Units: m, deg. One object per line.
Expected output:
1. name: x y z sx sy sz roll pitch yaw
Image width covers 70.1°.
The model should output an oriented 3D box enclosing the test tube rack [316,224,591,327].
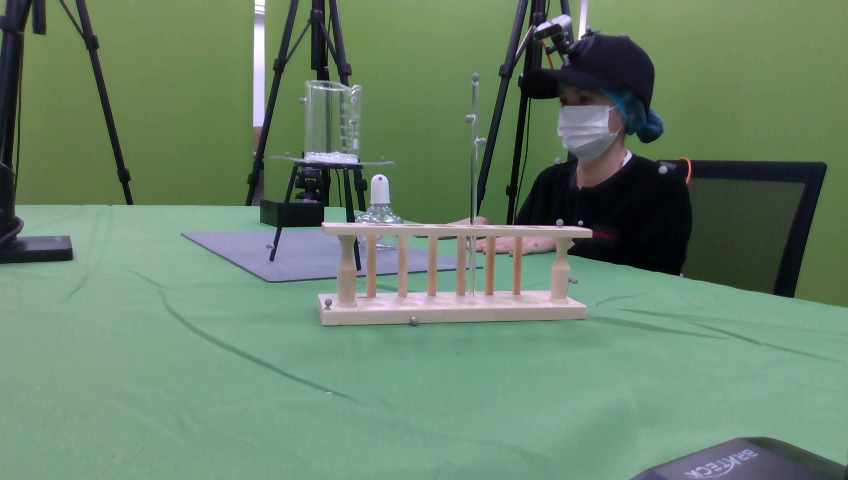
1. test tube rack: 0.026 0.028 0.555 0.243 0.085 0.066 1 7 -14

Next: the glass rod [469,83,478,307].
1. glass rod: 0.043 -0.033 0.523 0.008 0.199 0.008 -1 14 1

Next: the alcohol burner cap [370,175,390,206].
1. alcohol burner cap: -0.069 -0.077 0.940 0.034 0.048 0.034 -1 6 0

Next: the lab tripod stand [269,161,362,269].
1. lab tripod stand: -0.125 -0.036 0.794 0.148 0.131 0.148 5 7 0

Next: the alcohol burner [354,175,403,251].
1. alcohol burner: -0.072 -0.042 0.944 0.078 0.119 0.078 1 9 0

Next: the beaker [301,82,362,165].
1. beaker: -0.117 -0.147 0.776 0.074 0.100 0.083 -3 10 -38

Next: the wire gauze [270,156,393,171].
1. wire gauze: -0.122 -0.100 0.786 0.122 0.011 0.124 -5 14 -38
